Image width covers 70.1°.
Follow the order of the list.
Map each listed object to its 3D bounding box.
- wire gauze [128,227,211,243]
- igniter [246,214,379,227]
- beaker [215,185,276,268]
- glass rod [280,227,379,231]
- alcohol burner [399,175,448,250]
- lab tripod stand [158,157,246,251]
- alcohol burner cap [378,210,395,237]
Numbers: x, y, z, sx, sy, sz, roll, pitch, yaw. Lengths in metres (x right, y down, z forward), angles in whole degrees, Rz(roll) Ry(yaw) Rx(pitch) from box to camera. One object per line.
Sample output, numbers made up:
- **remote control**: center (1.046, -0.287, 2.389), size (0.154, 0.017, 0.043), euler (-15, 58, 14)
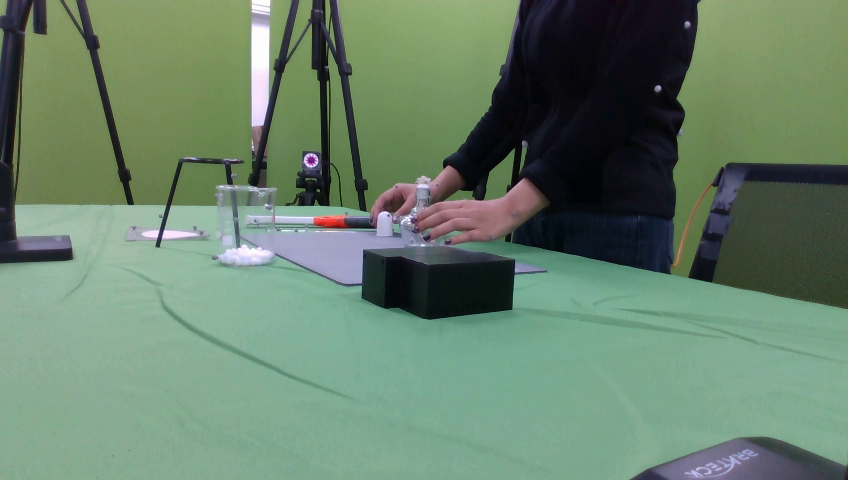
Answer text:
- **wire gauze**: center (-0.420, -0.010, 0.999), size (0.122, 0.011, 0.124), euler (-2, 10, -24)
- **igniter**: center (-0.214, -0.040, 1.216), size (0.278, 0.025, 0.057), euler (-1, -2, -22)
- **beaker**: center (-0.226, -0.019, 0.773), size (0.074, 0.100, 0.084), euler (5, 7, 14)
- **glass rod**: center (-0.175, -0.021, 1.161), size (0.200, 0.008, 0.008), euler (1, 7, -15)
- **alcohol burner**: center (-0.001, -0.044, 0.962), size (0.078, 0.119, 0.078), euler (0, 8, 0)
- **lab tripod stand**: center (-0.314, -0.055, 0.891), size (0.148, 0.131, 0.148), euler (2, 9, 0)
- **alcohol burner cap**: center (-0.069, -0.031, 1.117), size (0.034, 0.048, 0.034), euler (1, 6, 0)
